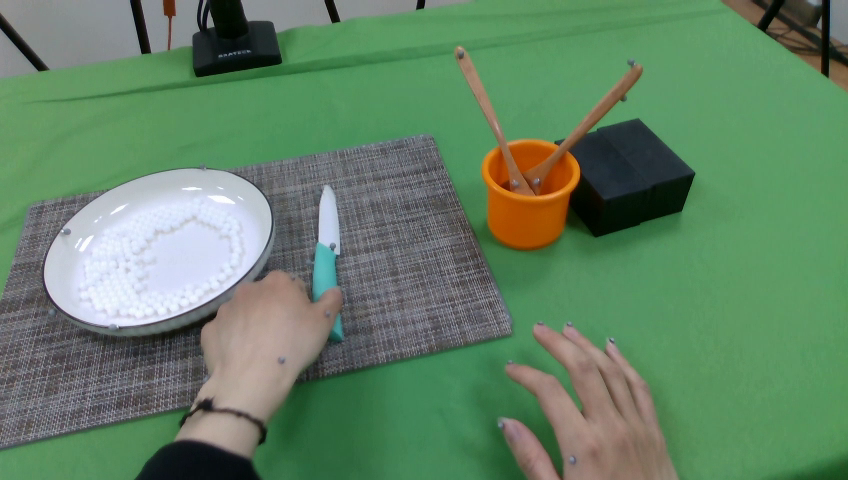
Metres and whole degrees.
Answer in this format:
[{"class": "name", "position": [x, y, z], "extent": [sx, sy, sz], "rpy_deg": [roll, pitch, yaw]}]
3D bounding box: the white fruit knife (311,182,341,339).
[{"class": "white fruit knife", "position": [-0.094, 0.009, 0.587], "extent": [0.027, 0.016, 0.205], "rpy_deg": [17, 39, -23]}]

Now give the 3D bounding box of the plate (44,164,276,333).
[{"class": "plate", "position": [-0.243, 0.007, 0.579], "extent": [0.209, 0.038, 0.207], "rpy_deg": [-1, 46, 2]}]

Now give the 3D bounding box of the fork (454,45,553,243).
[{"class": "fork", "position": [0.075, -0.094, 0.588], "extent": [0.028, 0.018, 0.207], "rpy_deg": [-24, 94, -5]}]

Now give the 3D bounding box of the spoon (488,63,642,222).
[{"class": "spoon", "position": [0.133, -0.089, 0.576], "extent": [0.041, 0.194, 0.021], "rpy_deg": [46, 24, 5]}]
